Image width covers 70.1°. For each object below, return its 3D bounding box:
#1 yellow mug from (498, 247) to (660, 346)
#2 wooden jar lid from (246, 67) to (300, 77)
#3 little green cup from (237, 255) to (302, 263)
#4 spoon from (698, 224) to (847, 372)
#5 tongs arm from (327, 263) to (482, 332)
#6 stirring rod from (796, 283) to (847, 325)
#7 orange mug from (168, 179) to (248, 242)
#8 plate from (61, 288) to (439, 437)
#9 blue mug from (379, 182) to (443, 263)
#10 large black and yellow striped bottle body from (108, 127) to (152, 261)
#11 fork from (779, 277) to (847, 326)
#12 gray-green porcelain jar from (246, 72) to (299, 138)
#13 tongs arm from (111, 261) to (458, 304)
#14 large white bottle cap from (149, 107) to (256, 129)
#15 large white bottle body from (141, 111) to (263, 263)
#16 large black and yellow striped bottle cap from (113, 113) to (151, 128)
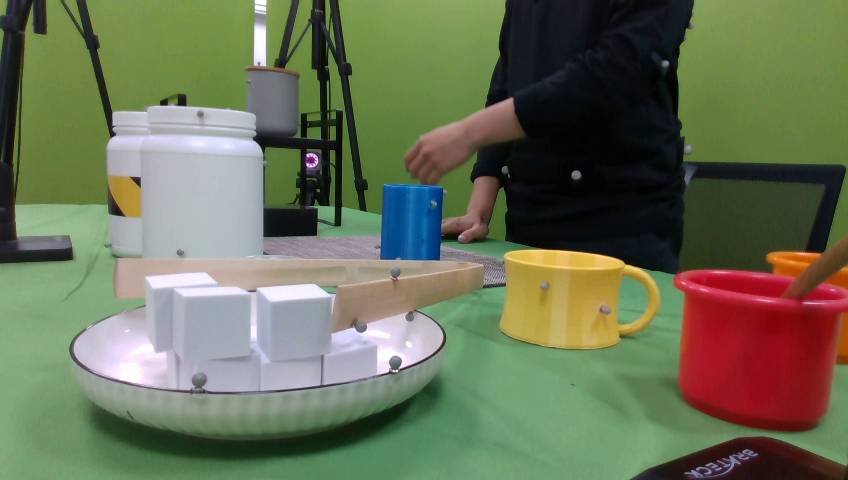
[{"bbox_3d":[0.130,0.045,0.508,0.131,0.064,0.100,4,7,6],"label":"yellow mug"},{"bbox_3d":[-0.312,-0.339,1.248,0.108,0.020,0.108,4,8,0],"label":"wooden jar lid"},{"bbox_3d":[-0.150,0.038,0.590,0.061,0.038,0.061,3,6,0],"label":"little green cup"},{"bbox_3d":[0.195,0.032,0.323,0.041,0.021,0.194,1,-36,2],"label":"spoon"},{"bbox_3d":[-0.003,0.036,0.493,0.050,0.026,0.386,1,0,19],"label":"tongs arm"},{"bbox_3d":[0.346,0.019,0.460,0.014,0.176,0.006,-17,59,-26],"label":"stirring rod"},{"bbox_3d":[-0.351,-0.050,0.986,0.126,0.101,0.083,-3,8,-9],"label":"orange mug"},{"bbox_3d":[-0.095,0.069,0.362,0.208,0.039,0.207,3,7,0],"label":"plate"},{"bbox_3d":[-0.020,-0.026,0.833,0.082,0.106,0.116,1,7,-7],"label":"blue mug"},{"bbox_3d":[-0.350,-0.071,0.812,0.131,0.184,0.130,2,7,0],"label":"large black and yellow striped bottle body"},{"bbox_3d":[0.335,0.018,0.443,0.028,0.018,0.207,-1,-36,-20],"label":"fork"},{"bbox_3d":[-0.314,-0.277,1.256,0.106,0.126,0.106,3,8,0],"label":"gray-green porcelain jar"},{"bbox_3d":[-0.080,0.032,0.527,0.028,0.027,0.389,-3,-3,33],"label":"tongs arm"},{"bbox_3d":[-0.250,-0.137,0.686,0.115,0.018,0.115,2,8,0],"label":"large white bottle cap"},{"bbox_3d":[-0.254,-0.054,0.697,0.131,0.184,0.130,2,7,0],"label":"large white bottle body"},{"bbox_3d":[-0.348,-0.154,0.800,0.115,0.019,0.115,2,6,0],"label":"large black and yellow striped bottle cap"}]
